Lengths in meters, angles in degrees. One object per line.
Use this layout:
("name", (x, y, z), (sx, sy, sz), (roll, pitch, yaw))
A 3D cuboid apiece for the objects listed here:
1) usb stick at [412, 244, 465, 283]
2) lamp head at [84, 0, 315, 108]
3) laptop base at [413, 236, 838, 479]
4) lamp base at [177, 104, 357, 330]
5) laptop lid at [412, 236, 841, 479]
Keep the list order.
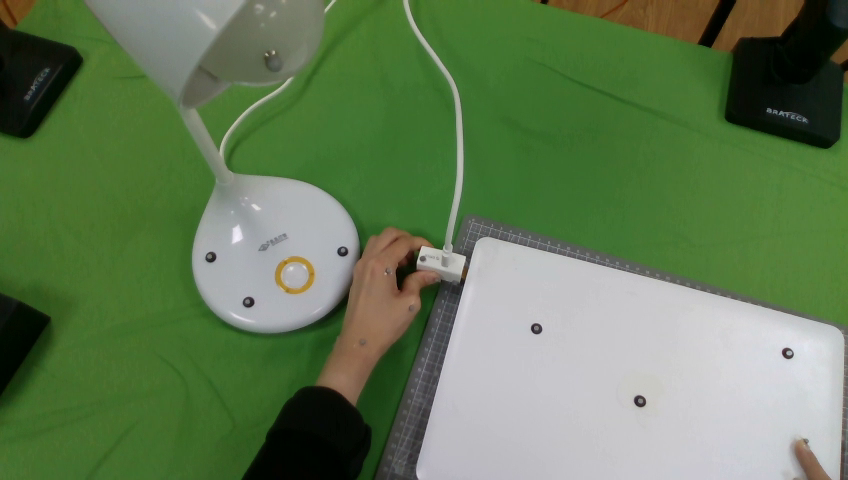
("usb stick", (0.020, 0.024, 0.579), (0.059, 0.027, 0.021), (15, 61, 0))
("lamp head", (-0.102, -0.131, 0.240), (0.123, 0.112, 0.112), (42, 71, -9))
("laptop base", (0.188, 0.144, 0.548), (0.354, 0.023, 0.234), (15, 71, 4))
("lamp base", (-0.154, -0.029, 0.525), (0.160, 0.181, 0.178), (-41, 71, -17))
("laptop lid", (0.187, 0.141, 0.537), (0.356, 0.013, 0.240), (16, 71, 5))
